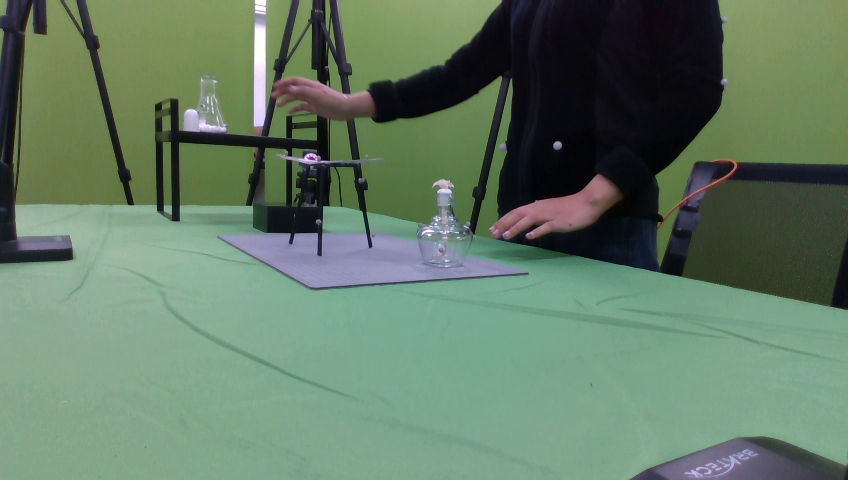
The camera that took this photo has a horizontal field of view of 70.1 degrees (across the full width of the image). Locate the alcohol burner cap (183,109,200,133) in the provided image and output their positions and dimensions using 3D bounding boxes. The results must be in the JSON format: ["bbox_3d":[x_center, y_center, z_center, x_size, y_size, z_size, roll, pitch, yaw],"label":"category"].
[{"bbox_3d":[-0.472,-0.241,1.229,0.034,0.048,0.034,4,8,0],"label":"alcohol burner cap"}]

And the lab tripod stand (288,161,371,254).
[{"bbox_3d":[-0.148,-0.052,0.908,0.148,0.131,0.148,1,8,0],"label":"lab tripod stand"}]

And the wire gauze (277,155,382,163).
[{"bbox_3d":[-0.142,-0.118,0.899,0.122,0.011,0.124,-3,8,-36],"label":"wire gauze"}]

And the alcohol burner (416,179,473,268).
[{"bbox_3d":[0.027,-0.022,0.816,0.078,0.119,0.078,0,7,0],"label":"alcohol burner"}]

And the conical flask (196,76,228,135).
[{"bbox_3d":[-0.465,-0.291,1.311,0.075,0.122,0.075,2,7,0],"label":"conical flask"}]
